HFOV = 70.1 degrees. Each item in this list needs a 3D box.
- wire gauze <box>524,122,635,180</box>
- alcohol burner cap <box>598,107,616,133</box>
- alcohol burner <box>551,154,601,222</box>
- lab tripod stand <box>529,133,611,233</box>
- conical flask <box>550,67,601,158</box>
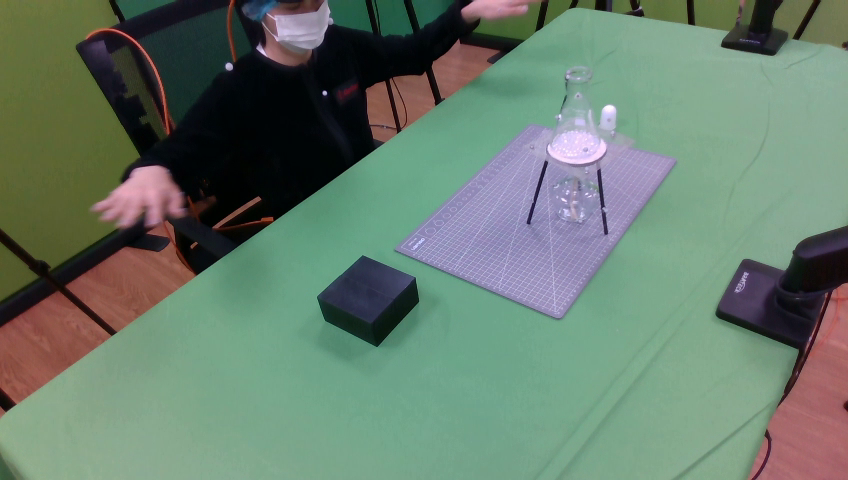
[{"bbox_3d":[0.233,-0.142,0.913,0.122,0.011,0.124,-31,43,-26],"label":"wire gauze"},{"bbox_3d":[0.361,-0.239,1.189,0.034,0.048,0.033,-4,40,4],"label":"alcohol burner cap"},{"bbox_3d":[0.244,-0.088,0.966,0.078,0.119,0.077,-3,40,3],"label":"alcohol burner"},{"bbox_3d":[0.236,-0.089,0.953,0.148,0.132,0.147,-5,42,5],"label":"lab tripod stand"},{"bbox_3d":[0.221,-0.186,0.875,0.075,0.122,0.075,-5,40,5],"label":"conical flask"}]
